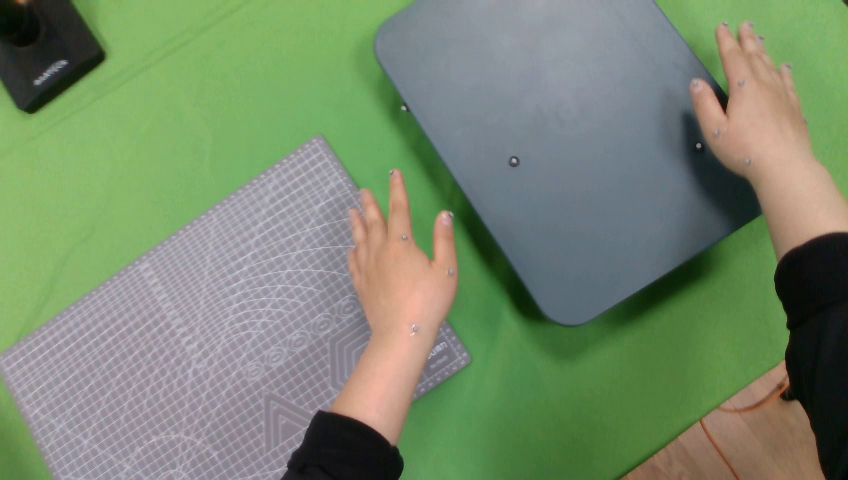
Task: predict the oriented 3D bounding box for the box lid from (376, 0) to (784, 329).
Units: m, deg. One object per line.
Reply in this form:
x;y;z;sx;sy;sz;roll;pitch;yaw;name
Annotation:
0.142;-0.127;0.601;0.263;0.015;0.370;-33;80;1;box lid
